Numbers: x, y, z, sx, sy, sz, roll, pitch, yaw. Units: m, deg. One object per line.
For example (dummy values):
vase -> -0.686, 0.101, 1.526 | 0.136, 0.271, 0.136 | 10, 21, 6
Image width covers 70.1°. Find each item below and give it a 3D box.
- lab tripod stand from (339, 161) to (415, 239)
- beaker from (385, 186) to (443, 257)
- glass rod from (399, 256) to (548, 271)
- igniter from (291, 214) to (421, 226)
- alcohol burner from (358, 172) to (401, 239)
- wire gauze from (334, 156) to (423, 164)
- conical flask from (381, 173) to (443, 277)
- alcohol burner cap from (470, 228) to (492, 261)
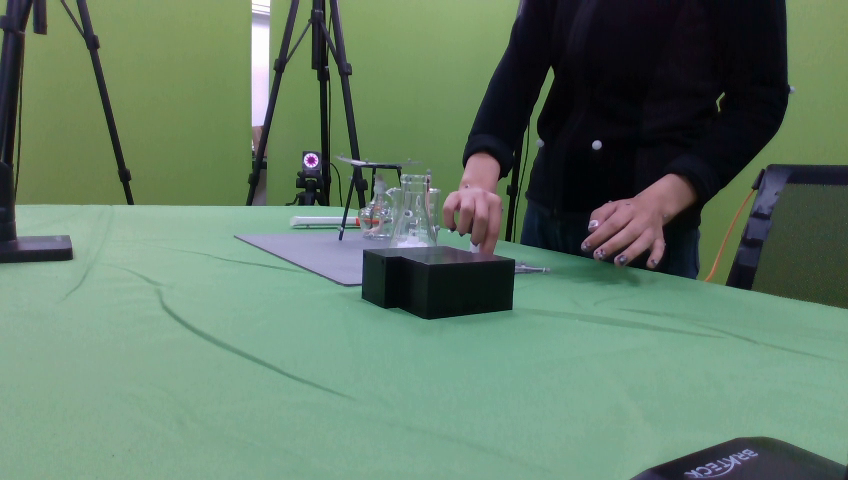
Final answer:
lab tripod stand -> -0.082, -0.070, 1.059 | 0.148, 0.131, 0.148 | 4, 6, 0
beaker -> -0.015, -0.028, 0.886 | 0.084, 0.100, 0.074 | 0, 7, -9
glass rod -> 0.064, 0.030, 0.806 | 0.199, 0.008, 0.008 | 4, 7, 10
igniter -> -0.135, -0.041, 1.250 | 0.278, 0.025, 0.057 | -1, -3, -28
alcohol burner -> -0.078, -0.061, 1.065 | 0.078, 0.119, 0.078 | 4, 9, 0
wire gauze -> -0.081, -0.137, 1.051 | 0.122, 0.011, 0.124 | 0, 8, -29
conical flask -> -0.012, -0.020, 0.731 | 0.075, 0.122, 0.075 | 2, 7, 0
alcohol burner cap -> 0.082, 0.006, 0.877 | 0.034, 0.048, 0.034 | -1, 7, 0
